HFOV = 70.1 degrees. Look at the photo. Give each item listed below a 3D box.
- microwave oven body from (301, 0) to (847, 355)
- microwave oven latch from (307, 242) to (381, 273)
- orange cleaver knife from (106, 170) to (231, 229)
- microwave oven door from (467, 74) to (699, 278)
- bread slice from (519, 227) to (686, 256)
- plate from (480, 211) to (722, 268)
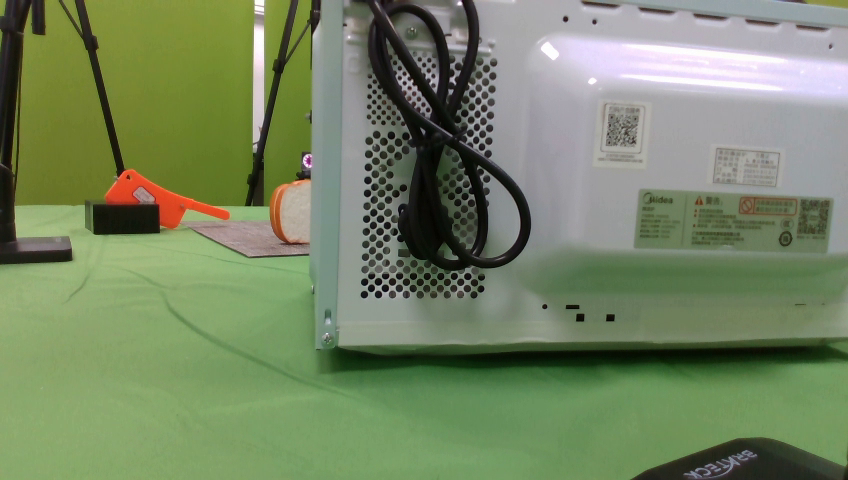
[{"bbox_3d":[0.120,-0.053,0.535,0.443,0.260,0.325,2,7,-11],"label":"microwave oven body"},{"bbox_3d":[-0.086,0.019,0.656,0.079,0.029,0.030,2,7,-10],"label":"microwave oven latch"},{"bbox_3d":[-0.458,-0.060,1.097,0.212,0.077,0.012,23,-4,-38],"label":"orange cleaver knife"},{"bbox_3d":[0.197,-0.095,0.848,0.039,0.243,0.354,-4,10,-39],"label":"microwave oven door"},{"bbox_3d":[0.172,0.000,0.565,0.134,0.018,0.107,-1,6,31],"label":"bread slice"},{"bbox_3d":[0.154,-0.003,0.548,0.208,0.039,0.207,2,5,0],"label":"plate"}]
